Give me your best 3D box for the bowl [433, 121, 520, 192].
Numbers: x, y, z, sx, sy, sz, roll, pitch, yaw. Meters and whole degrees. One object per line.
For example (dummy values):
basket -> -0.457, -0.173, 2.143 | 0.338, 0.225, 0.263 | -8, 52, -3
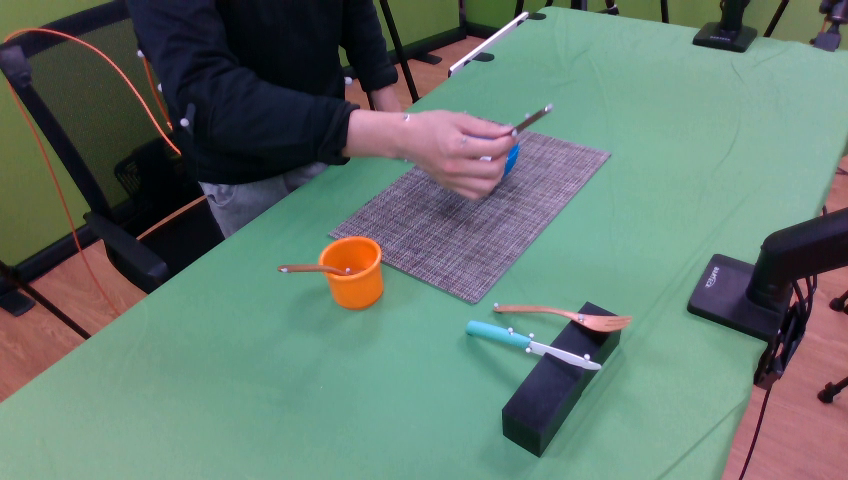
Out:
bowl -> 0.094, -0.137, 1.064 | 0.151, 0.077, 0.150 | -4, 41, 4

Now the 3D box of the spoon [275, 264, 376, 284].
spoon -> -0.133, 0.044, 0.839 | 0.041, 0.195, 0.021 | 25, 95, 33

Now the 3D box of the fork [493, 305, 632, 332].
fork -> 0.171, 0.097, 0.783 | 0.205, 0.019, 0.028 | 4, 40, 43

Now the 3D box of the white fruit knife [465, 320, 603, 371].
white fruit knife -> 0.128, 0.129, 0.749 | 0.205, 0.027, 0.016 | 10, 45, 43

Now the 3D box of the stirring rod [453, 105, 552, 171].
stirring rod -> 0.084, -0.112, 0.692 | 0.014, 0.175, 0.006 | -21, 86, -34
